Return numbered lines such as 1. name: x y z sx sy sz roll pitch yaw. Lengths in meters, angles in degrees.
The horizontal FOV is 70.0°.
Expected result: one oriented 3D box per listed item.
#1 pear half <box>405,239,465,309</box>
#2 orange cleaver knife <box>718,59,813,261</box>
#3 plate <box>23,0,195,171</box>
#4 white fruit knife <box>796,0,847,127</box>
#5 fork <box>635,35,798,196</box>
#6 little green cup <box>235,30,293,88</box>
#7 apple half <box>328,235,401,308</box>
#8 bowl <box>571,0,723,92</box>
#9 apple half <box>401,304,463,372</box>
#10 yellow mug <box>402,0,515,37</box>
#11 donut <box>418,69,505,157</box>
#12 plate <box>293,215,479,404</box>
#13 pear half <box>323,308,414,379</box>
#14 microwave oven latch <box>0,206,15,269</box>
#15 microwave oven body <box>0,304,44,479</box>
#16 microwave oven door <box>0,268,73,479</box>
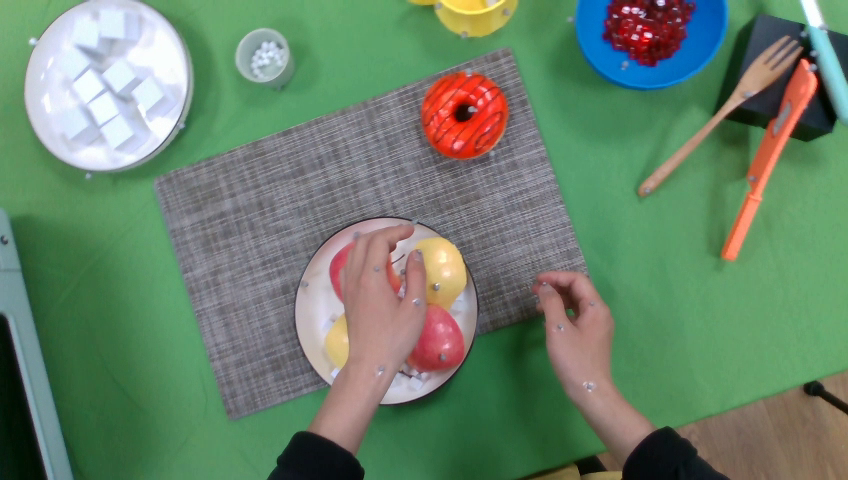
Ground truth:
1. pear half: 0.007 0.043 0.664 0.070 0.031 0.088 4 91 26
2. orange cleaver knife: 0.350 -0.079 0.629 0.012 0.077 0.212 17 115 11
3. plate: -0.370 -0.184 0.725 0.207 0.039 0.207 0 88 6
4. white fruit knife: 0.396 -0.210 0.613 0.027 0.016 0.207 -15 84 -24
5. fork: 0.298 -0.123 0.633 0.028 0.018 0.208 39 112 -2
6. little green cup: -0.184 -0.208 0.707 0.061 0.039 0.061 0 88 6
7. apple half: -0.069 0.037 0.667 0.074 0.053 0.081 -15 91 5
8. bowl: 0.228 -0.225 0.648 0.151 0.077 0.151 0 89 6
9. apple half: 0.000 0.109 0.658 0.081 0.033 0.081 4 99 28
10. yellow mug: 0.037 -0.283 0.674 0.131 0.064 0.100 -9 87 6
11. donut: 0.041 -0.141 0.676 0.099 0.048 0.099 0 89 8
12. plate: -0.041 0.077 0.681 0.209 0.038 0.209 0 88 6
13. pear half: -0.057 0.124 0.668 0.110 0.056 0.076 31 96 2
14. microwave oven latch: -0.511 -0.005 0.714 0.030 0.029 0.079 -14 87 4
15. microwave oven body: -0.613 0.202 0.621 0.326 0.260 0.441 -16 87 4
16. microwave oven door: -0.463 0.202 0.601 0.039 0.244 0.355 -17 86 5
